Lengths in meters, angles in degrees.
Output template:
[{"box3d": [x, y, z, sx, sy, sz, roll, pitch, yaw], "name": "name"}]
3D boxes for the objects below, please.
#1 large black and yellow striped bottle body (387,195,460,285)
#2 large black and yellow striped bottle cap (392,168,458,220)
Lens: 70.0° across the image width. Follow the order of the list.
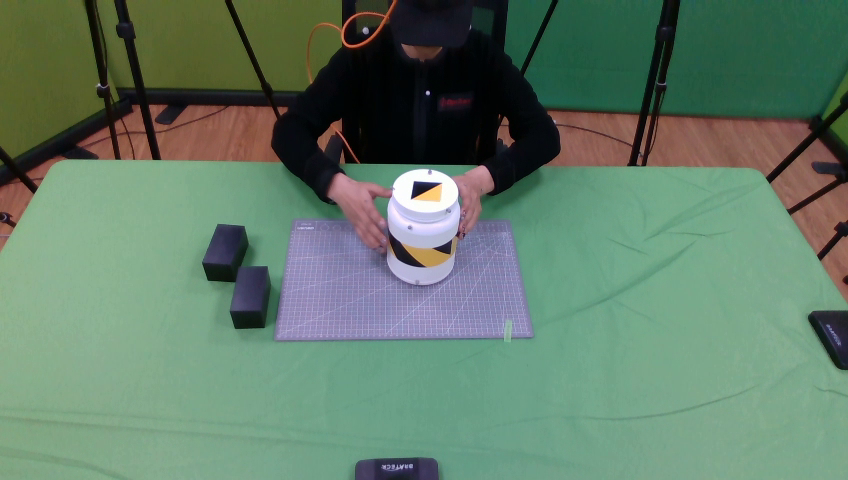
[{"box3d": [-0.002, -0.022, 1.101, 0.131, 0.185, 0.130, 2, 46, -2], "name": "large black and yellow striped bottle body"}, {"box3d": [0.002, -0.081, 1.041, 0.115, 0.019, 0.114, 2, 48, -2], "name": "large black and yellow striped bottle cap"}]
